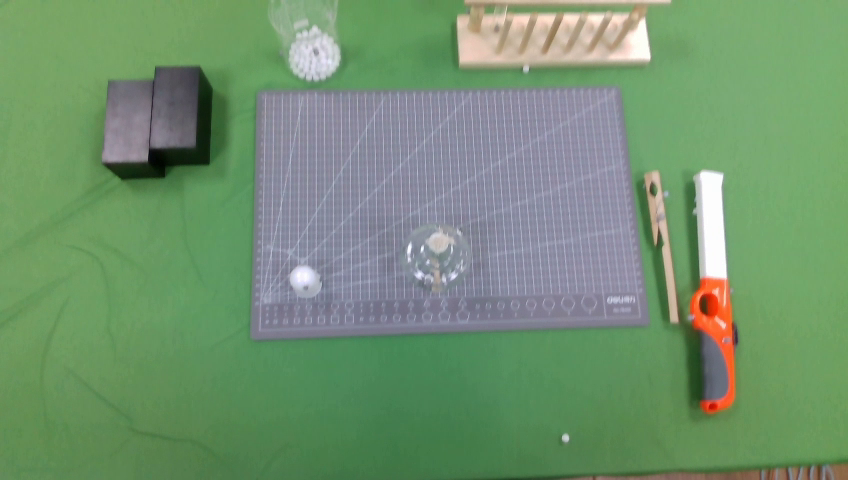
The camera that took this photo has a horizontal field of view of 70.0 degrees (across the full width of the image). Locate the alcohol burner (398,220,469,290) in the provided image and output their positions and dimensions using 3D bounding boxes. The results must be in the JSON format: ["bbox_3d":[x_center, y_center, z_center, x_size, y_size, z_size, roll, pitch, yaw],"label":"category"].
[{"bbox_3d":[0.011,0.011,0.645,0.078,0.119,0.077,1,74,-3],"label":"alcohol burner"}]

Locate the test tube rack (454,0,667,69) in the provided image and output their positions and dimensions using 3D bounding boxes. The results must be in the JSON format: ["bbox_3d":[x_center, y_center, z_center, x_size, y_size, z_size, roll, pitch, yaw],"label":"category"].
[{"bbox_3d":[0.162,-0.263,0.739,0.242,0.085,0.066,-2,75,-4],"label":"test tube rack"}]

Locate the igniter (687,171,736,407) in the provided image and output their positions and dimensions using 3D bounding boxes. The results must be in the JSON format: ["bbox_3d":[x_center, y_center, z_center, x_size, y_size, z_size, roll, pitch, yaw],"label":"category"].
[{"bbox_3d":[0.330,0.052,0.700,0.057,0.025,0.275,7,75,-12],"label":"igniter"}]

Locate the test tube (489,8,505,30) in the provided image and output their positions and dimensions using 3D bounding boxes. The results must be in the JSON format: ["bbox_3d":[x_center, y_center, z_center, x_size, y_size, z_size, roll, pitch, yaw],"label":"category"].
[{"bbox_3d":[0.091,-0.292,0.691,0.017,0.151,0.017,1,71,-2],"label":"test tube"}]

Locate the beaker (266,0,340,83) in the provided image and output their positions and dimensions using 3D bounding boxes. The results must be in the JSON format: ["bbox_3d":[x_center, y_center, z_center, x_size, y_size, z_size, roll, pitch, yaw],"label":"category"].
[{"bbox_3d":[-0.135,-0.238,0.709,0.084,0.100,0.073,-36,80,-12],"label":"beaker"}]

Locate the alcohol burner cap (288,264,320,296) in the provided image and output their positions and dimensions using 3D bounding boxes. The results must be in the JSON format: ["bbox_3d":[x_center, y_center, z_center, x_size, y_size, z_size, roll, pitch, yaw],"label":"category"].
[{"bbox_3d":[-0.133,0.042,0.666,0.034,0.048,0.033,1,76,-4],"label":"alcohol burner cap"}]

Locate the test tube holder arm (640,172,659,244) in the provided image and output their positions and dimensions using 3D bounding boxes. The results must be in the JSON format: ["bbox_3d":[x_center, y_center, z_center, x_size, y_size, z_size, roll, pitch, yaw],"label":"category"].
[{"bbox_3d":[0.272,-0.038,0.726,0.010,0.015,0.087,-13,75,29],"label":"test tube holder arm"}]

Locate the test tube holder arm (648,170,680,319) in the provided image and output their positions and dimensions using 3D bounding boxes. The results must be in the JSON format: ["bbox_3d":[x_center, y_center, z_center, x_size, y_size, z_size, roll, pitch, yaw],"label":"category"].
[{"bbox_3d":[0.281,0.004,0.713,0.013,0.015,0.177,-13,75,29],"label":"test tube holder arm"}]
